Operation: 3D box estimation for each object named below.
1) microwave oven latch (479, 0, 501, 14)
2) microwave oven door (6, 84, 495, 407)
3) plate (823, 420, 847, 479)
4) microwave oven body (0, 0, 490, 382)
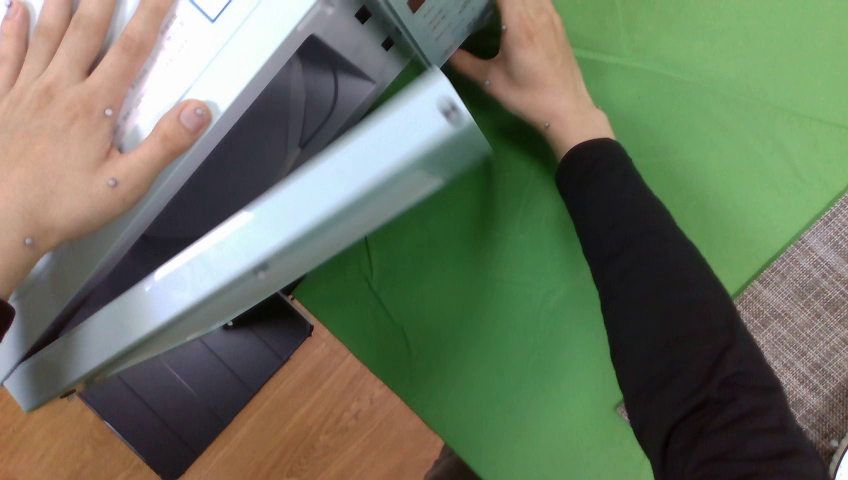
[{"bbox_3d":[0.029,-0.212,0.545,0.079,0.029,0.030,-17,94,10],"label":"microwave oven latch"},{"bbox_3d":[-0.108,0.000,0.485,0.356,0.244,0.039,-32,89,10],"label":"microwave oven door"},{"bbox_3d":[0.465,0.218,0.539,0.209,0.038,0.209,1,96,9],"label":"plate"},{"bbox_3d":[-0.211,-0.166,0.488,0.326,0.260,0.442,44,101,2],"label":"microwave oven body"}]
